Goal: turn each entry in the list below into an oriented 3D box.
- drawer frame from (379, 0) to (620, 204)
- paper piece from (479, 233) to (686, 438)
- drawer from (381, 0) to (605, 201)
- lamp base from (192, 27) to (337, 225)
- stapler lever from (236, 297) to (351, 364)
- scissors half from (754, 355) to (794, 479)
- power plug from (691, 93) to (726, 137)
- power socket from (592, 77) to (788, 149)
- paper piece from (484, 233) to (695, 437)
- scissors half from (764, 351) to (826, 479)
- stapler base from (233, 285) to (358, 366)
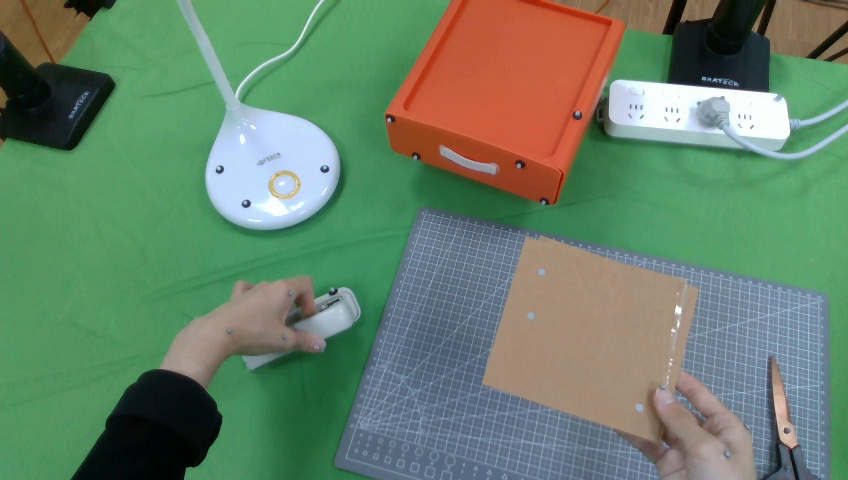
[{"bbox_3d":[0.087,-0.174,0.683,0.201,0.083,0.212,21,67,13],"label":"drawer frame"},{"bbox_3d":[0.128,0.069,0.481,0.135,0.009,0.137,16,68,12],"label":"paper piece"},{"bbox_3d":[0.086,-0.169,0.678,0.194,0.074,0.211,21,65,13],"label":"drawer"},{"bbox_3d":[-0.197,-0.131,0.666,0.160,0.182,0.177,-38,64,-16],"label":"lamp base"},{"bbox_3d":[-0.129,0.091,0.604,0.118,0.040,0.027,-24,94,-7],"label":"stapler lever"},{"bbox_3d":[0.329,0.186,0.569,0.040,0.013,0.174,16,61,0],"label":"scissors half"},{"bbox_3d":[0.326,-0.139,0.701,0.035,0.053,0.072,17,65,11],"label":"power plug"},{"bbox_3d":[0.322,-0.155,0.735,0.226,0.033,0.071,7,65,6],"label":"power socket"},{"bbox_3d":[0.136,0.071,0.494,0.134,0.004,0.135,20,68,20],"label":"paper piece"},{"bbox_3d":[0.349,0.188,0.570,0.040,0.013,0.173,-2,62,-3],"label":"scissors half"},{"bbox_3d":[-0.132,0.089,0.630,0.130,0.024,0.041,-24,95,-8],"label":"stapler base"}]
